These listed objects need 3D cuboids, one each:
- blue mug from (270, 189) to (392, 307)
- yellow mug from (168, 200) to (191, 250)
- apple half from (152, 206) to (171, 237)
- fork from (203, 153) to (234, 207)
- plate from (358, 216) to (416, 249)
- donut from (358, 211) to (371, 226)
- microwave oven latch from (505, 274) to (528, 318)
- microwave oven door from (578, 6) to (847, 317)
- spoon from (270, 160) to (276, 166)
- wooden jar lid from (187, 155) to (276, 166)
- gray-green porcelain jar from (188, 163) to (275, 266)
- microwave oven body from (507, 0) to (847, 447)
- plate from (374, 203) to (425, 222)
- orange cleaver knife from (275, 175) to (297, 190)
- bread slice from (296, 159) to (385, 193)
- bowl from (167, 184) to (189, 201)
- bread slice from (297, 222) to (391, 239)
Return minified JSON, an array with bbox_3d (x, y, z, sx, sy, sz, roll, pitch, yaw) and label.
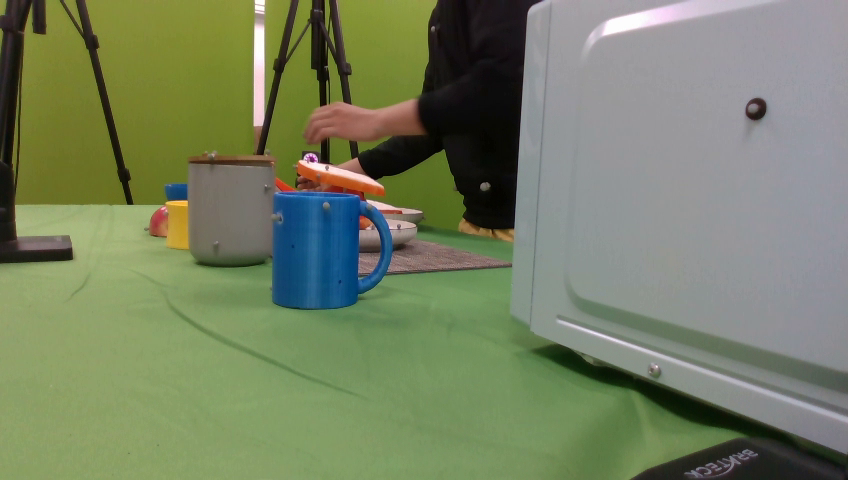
[{"bbox_3d":[-0.089,0.005,0.588,0.117,0.106,0.082,1,7,-10],"label":"blue mug"},{"bbox_3d":[-0.320,-0.022,0.904,0.130,0.064,0.100,9,10,36],"label":"yellow mug"},{"bbox_3d":[-0.415,-0.034,1.017,0.081,0.053,0.074,1,10,-8],"label":"apple half"},{"bbox_3d":[-0.480,-0.134,1.411,0.028,0.018,0.207,1,-35,0],"label":"fork"},{"bbox_3d":[-0.116,-0.014,0.967,0.208,0.039,0.207,2,7,0],"label":"plate"},{"bbox_3d":[-0.130,-0.042,0.956,0.099,0.048,0.099,1,7,0],"label":"donut"},{"bbox_3d":[0.100,0.041,0.472,0.079,0.029,0.030,-2,8,-29],"label":"microwave oven latch"},{"bbox_3d":[0.294,-0.067,0.570,0.358,0.243,0.039,-3,9,-31],"label":"microwave oven door"},{"bbox_3d":[-0.396,-0.150,1.548,0.042,0.193,0.021,3,-37,-4],"label":"spoon"},{"bbox_3d":[-0.244,-0.097,0.771,0.108,0.020,0.108,-1,7,0],"label":"wooden jar lid"},{"bbox_3d":[-0.246,-0.034,0.780,0.106,0.126,0.106,2,7,0],"label":"gray-green porcelain jar"},{"bbox_3d":[0.331,-0.042,0.425,0.444,0.260,0.324,-2,8,-31],"label":"microwave oven body"},{"bbox_3d":[-0.102,-0.053,1.299,0.209,0.038,0.209,2,8,0],"label":"plate"},{"bbox_3d":[-0.283,-0.087,1.343,0.212,0.077,0.012,24,-16,-41],"label":"orange cleaver knife"},{"bbox_3d":[-0.134,-0.103,0.950,0.132,0.019,0.104,10,12,-25],"label":"bread slice"},{"bbox_3d":[-0.408,-0.064,1.154,0.151,0.077,0.151,2,8,0],"label":"bowl"},{"bbox_3d":[-0.121,-0.016,0.969,0.106,0.018,0.135,10,8,41],"label":"bread slice"}]
